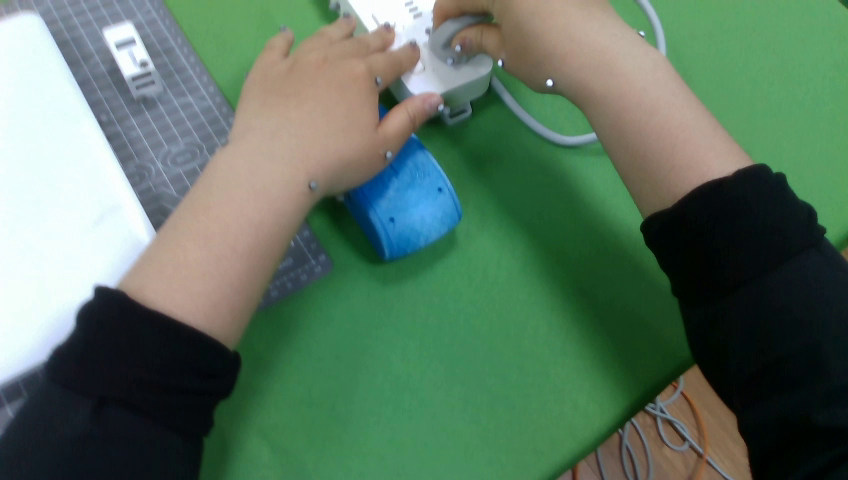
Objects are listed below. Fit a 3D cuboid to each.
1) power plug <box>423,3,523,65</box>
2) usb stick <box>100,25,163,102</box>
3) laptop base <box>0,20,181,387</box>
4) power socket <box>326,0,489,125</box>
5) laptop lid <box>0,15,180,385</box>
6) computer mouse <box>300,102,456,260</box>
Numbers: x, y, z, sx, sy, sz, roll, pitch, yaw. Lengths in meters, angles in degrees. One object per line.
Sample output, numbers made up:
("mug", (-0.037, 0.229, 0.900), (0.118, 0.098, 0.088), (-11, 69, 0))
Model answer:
("power plug", (0.035, -0.141, 0.435), (0.073, 0.053, 0.035), (-5, 62, -19))
("usb stick", (-0.202, -0.125, 0.415), (0.021, 0.027, 0.058), (-28, 69, -17))
("laptop base", (-0.348, 0.020, 0.333), (0.354, 0.023, 0.234), (-29, 75, -19))
("power socket", (-0.031, -0.183, 0.464), (0.072, 0.033, 0.225), (-26, 70, -17))
("laptop lid", (-0.346, 0.017, 0.322), (0.357, 0.013, 0.240), (-27, 74, -19))
("computer mouse", (-0.031, -0.045, 0.398), (0.063, 0.041, 0.116), (-28, 68, -17))
